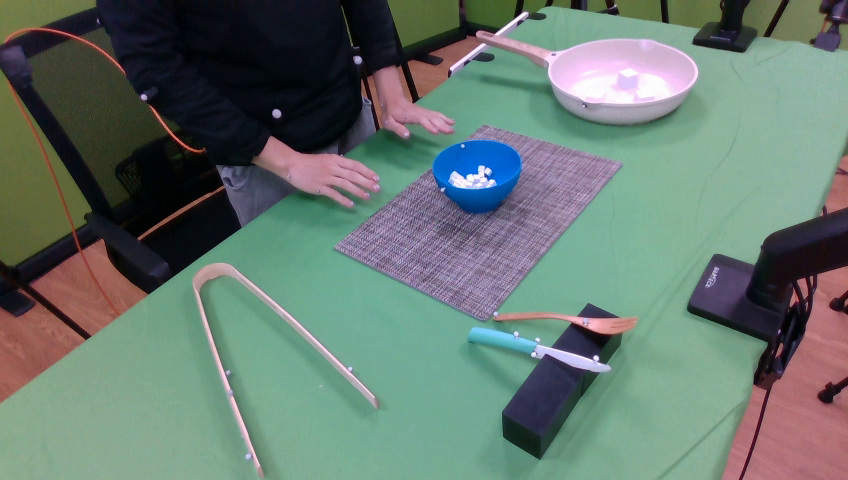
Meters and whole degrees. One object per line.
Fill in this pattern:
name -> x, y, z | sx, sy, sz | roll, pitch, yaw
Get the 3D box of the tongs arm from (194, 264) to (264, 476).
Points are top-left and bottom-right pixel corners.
tongs arm -> -0.259, 0.153, 0.816 | 0.051, 0.026, 0.381 | -24, 42, -20

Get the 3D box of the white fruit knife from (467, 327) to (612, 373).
white fruit knife -> 0.134, 0.134, 0.742 | 0.205, 0.027, 0.016 | 7, 34, 41

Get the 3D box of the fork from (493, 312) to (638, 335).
fork -> 0.173, 0.103, 0.774 | 0.206, 0.019, 0.028 | 0, 41, 40

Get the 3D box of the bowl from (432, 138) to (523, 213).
bowl -> 0.091, -0.099, 1.021 | 0.151, 0.077, 0.150 | -4, 41, 4

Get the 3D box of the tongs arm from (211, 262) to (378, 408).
tongs arm -> -0.192, 0.121, 0.850 | 0.028, 0.028, 0.384 | -37, 48, -27

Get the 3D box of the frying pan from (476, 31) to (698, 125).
frying pan -> 0.321, -0.371, 1.290 | 0.484, 0.103, 0.307 | 29, 51, 23
